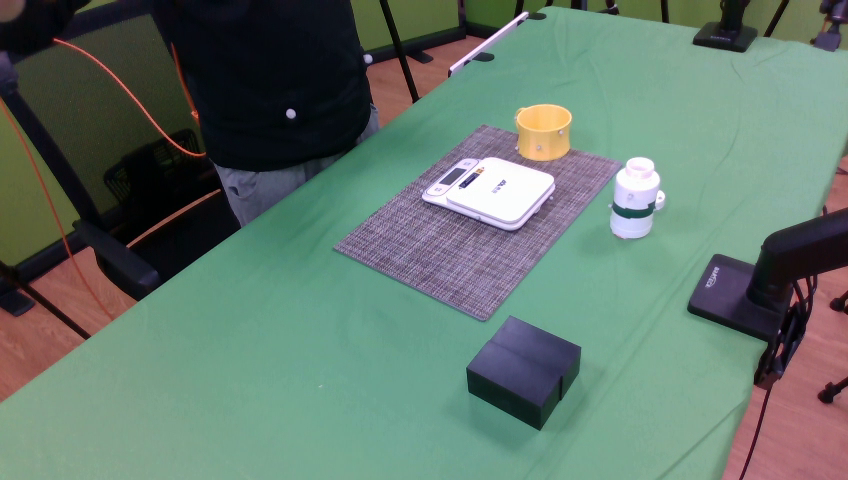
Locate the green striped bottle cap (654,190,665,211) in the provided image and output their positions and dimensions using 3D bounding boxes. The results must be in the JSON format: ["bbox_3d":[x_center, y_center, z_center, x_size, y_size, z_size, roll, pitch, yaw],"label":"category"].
[{"bbox_3d":[0.374,-0.066,0.999,0.044,0.020,0.044,-8,38,7],"label":"green striped bottle cap"}]

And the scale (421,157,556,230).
[{"bbox_3d":[0.110,-0.089,1.042,0.199,0.032,0.149,23,48,31],"label":"scale"}]

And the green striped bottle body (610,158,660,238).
[{"bbox_3d":[0.323,-0.066,0.923,0.063,0.120,0.063,-4,41,4],"label":"green striped bottle body"}]

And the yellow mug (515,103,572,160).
[{"bbox_3d":[0.216,-0.211,1.143,0.100,0.064,0.129,-27,44,-22],"label":"yellow mug"}]
